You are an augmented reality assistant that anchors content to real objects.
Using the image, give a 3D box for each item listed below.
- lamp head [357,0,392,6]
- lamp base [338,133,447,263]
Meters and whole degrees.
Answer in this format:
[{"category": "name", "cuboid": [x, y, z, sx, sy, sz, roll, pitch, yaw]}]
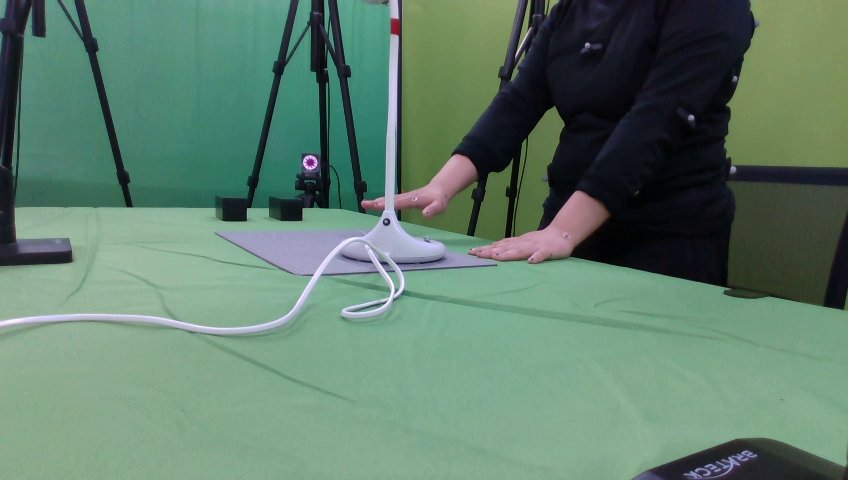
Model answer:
[{"category": "lamp head", "cuboid": [-0.056, -0.383, 0.819, 0.113, 0.112, 0.122, 0, 13, -22]}, {"category": "lamp base", "cuboid": [-0.042, -0.062, 0.868, 0.161, 0.180, 0.179, 2, 10, -3]}]
